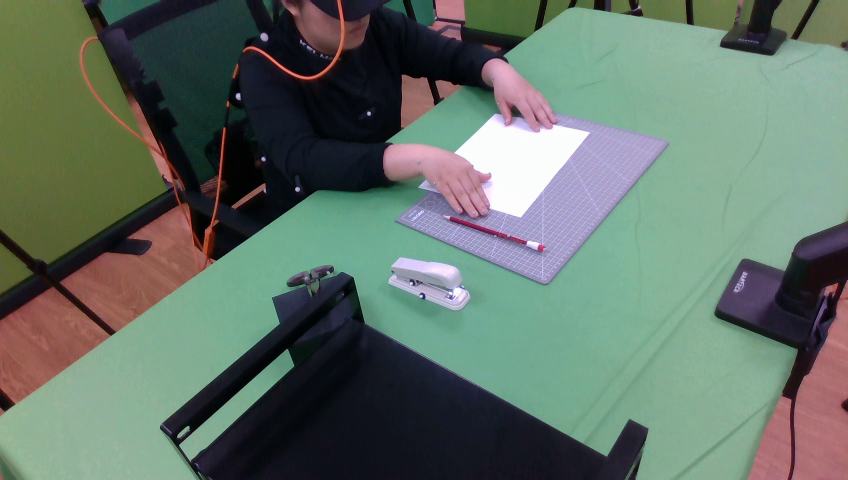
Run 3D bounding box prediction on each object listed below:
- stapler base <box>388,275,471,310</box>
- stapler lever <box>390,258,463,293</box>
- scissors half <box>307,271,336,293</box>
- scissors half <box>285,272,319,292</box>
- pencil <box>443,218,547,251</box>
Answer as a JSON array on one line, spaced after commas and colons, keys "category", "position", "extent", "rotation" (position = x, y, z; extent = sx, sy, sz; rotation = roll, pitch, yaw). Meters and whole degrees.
[{"category": "stapler base", "position": [0.007, 0.066, 0.897], "extent": [0.129, 0.024, 0.041], "rotation": [17, 43, 29]}, {"category": "stapler lever", "position": [0.003, 0.046, 0.881], "extent": [0.117, 0.040, 0.027], "rotation": [17, 44, 29]}, {"category": "scissors half", "position": [-0.152, 0.061, 0.872], "extent": [0.040, 0.013, 0.175], "rotation": [-3, 6, -4]}, {"category": "scissors half", "position": [-0.172, 0.063, 0.868], "extent": [0.040, 0.013, 0.174], "rotation": [-10, 7, -21]}, {"category": "pencil", "position": [0.110, -0.012, 0.980], "extent": [0.192, 0.012, 0.012], "rotation": [18, 46, 30]}]
